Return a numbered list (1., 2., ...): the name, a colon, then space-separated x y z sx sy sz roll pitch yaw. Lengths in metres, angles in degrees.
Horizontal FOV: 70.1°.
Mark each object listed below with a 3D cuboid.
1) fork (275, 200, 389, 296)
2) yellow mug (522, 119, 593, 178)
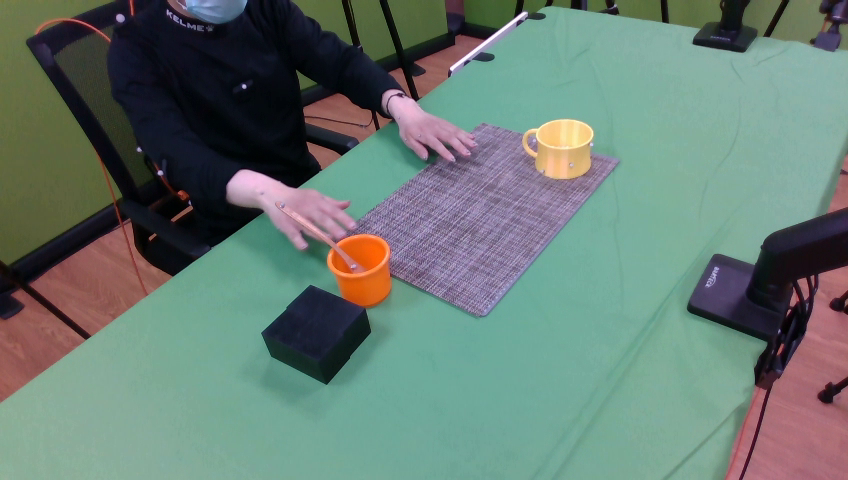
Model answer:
1. fork: -0.133 0.011 0.876 0.208 0.018 0.028 42 57 -11
2. yellow mug: 0.237 -0.170 1.092 0.130 0.064 0.100 17 47 27
